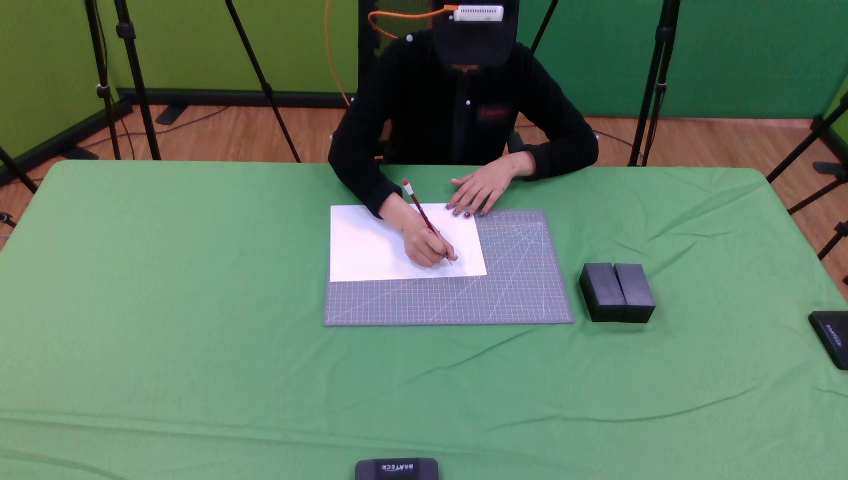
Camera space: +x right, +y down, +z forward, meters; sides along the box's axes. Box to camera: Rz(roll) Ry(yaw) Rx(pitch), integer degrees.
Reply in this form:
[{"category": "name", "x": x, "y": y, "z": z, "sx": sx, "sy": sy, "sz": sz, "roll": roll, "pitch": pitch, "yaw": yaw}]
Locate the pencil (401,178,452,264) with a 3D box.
[{"category": "pencil", "x": 0.007, "y": -0.032, "z": 1.130, "sx": 0.012, "sy": 0.195, "sz": 0.012, "roll": -26, "pitch": 21, "yaw": 11}]
